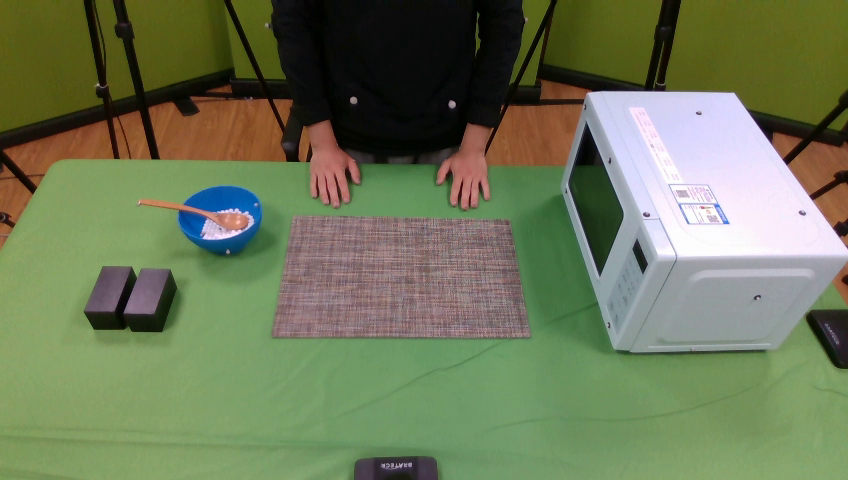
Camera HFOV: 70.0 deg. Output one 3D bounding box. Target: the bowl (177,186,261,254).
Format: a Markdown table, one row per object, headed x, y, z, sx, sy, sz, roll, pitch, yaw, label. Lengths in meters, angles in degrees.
| x | y | z | sx | sy | sz | roll | pitch | yaw | label |
| --- | --- | --- | --- | --- | --- | --- | --- | --- | --- |
| -0.383 | -0.026 | 1.158 | 0.151 | 0.077 | 0.150 | 2 | 46 | -2 | bowl |

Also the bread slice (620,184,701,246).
| x | y | z | sx | sy | sz | roll | pitch | yaw | label |
| --- | --- | --- | --- | --- | --- | --- | --- | --- | --- |
| 0.462 | -0.045 | 1.169 | 0.134 | 0.018 | 0.107 | 32 | 59 | 20 | bread slice |

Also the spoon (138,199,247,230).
| x | y | z | sx | sy | sz | roll | pitch | yaw | label |
| --- | --- | --- | --- | --- | --- | --- | --- | --- | --- |
| -0.431 | -0.053 | 1.136 | 0.194 | 0.022 | 0.041 | 15 | 48 | -20 | spoon |

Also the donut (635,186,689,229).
| x | y | z | sx | sy | sz | roll | pitch | yaw | label |
| --- | --- | --- | --- | --- | --- | --- | --- | --- | --- |
| 0.454 | -0.062 | 1.159 | 0.099 | 0.048 | 0.098 | -1 | 47 | 2 | donut |

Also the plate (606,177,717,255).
| x | y | z | sx | sy | sz | roll | pitch | yaw | label |
| --- | --- | --- | --- | --- | --- | --- | --- | --- | --- |
| 0.456 | -0.043 | 1.180 | 0.208 | 0.039 | 0.206 | 1 | 46 | 0 | plate |

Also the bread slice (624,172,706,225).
| x | y | z | sx | sy | sz | roll | pitch | yaw | label |
| --- | --- | --- | --- | --- | --- | --- | --- | --- | --- |
| 0.461 | -0.079 | 1.139 | 0.131 | 0.019 | 0.105 | 35 | 51 | 30 | bread slice |

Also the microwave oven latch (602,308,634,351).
| x | y | z | sx | sy | sz | roll | pitch | yaw | label |
| --- | --- | --- | --- | --- | --- | --- | --- | --- | --- |
| 0.332 | 0.153 | 1.044 | 0.030 | 0.029 | 0.078 | -1 | 45 | -4 | microwave oven latch |

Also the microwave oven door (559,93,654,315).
| x | y | z | sx | sy | sz | roll | pitch | yaw | label |
| --- | --- | --- | --- | --- | --- | --- | --- | --- | --- |
| 0.327 | -0.074 | 1.123 | 0.039 | 0.245 | 0.353 | -1 | 46 | -5 | microwave oven door |

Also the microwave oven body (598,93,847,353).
| x | y | z | sx | sy | sz | roll | pitch | yaw | label |
| --- | --- | --- | --- | --- | --- | --- | --- | --- | --- |
| 0.475 | -0.041 | 1.110 | 0.326 | 0.261 | 0.438 | -1 | 45 | -4 | microwave oven body |
